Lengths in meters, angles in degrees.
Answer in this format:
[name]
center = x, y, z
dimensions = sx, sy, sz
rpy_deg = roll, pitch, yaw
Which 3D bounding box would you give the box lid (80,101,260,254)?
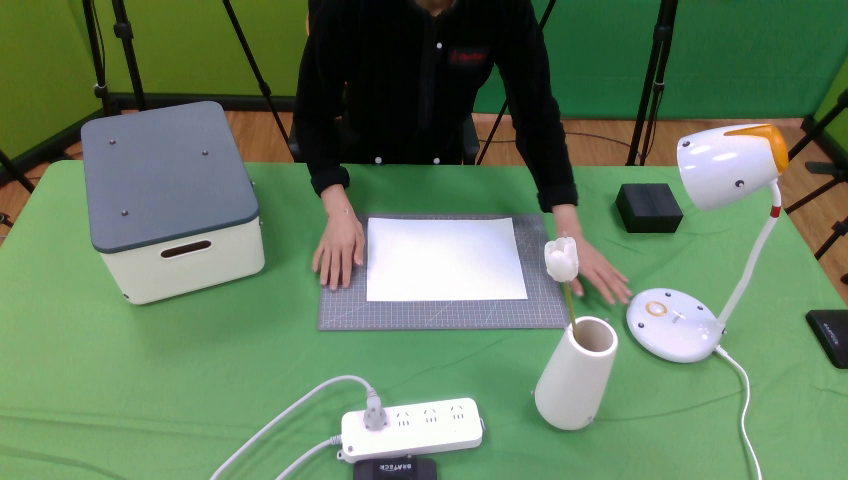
[box lid]
center = -0.461, -0.127, 1.082
dimensions = 0.264, 0.015, 0.369
rpy_deg = -16, 49, -19

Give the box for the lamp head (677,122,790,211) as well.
[lamp head]
center = 0.423, -0.104, 0.819
dimensions = 0.122, 0.113, 0.112
rpy_deg = -13, 33, 40

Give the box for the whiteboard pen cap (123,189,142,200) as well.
[whiteboard pen cap]
center = -0.591, -0.093, 1.231
dimensions = 0.033, 0.018, 0.018
rpy_deg = -14, 49, -17

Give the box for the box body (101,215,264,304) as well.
[box body]
center = -0.465, -0.077, 1.137
dimensions = 0.254, 0.161, 0.361
rpy_deg = -16, 50, -19

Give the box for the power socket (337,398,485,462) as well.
[power socket]
center = -0.018, 0.285, 0.914
dimensions = 0.227, 0.033, 0.071
rpy_deg = -4, 46, -8

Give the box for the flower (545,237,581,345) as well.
[flower]
center = 0.213, 0.137, 0.846
dimensions = 0.038, 0.364, 0.044
rpy_deg = 21, 55, 40

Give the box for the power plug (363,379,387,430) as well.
[power plug]
center = -0.071, 0.252, 0.911
dimensions = 0.035, 0.053, 0.072
rpy_deg = 3, 40, 0

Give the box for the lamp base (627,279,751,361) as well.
[lamp base]
center = 0.460, 0.100, 1.027
dimensions = 0.178, 0.181, 0.160
rpy_deg = 27, 51, 17

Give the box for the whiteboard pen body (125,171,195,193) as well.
[whiteboard pen body]
center = -0.553, -0.119, 1.270
dimensions = 0.141, 0.017, 0.017
rpy_deg = -18, 50, -15

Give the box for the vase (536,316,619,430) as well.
[vase]
center = 0.229, 0.200, 0.901
dimensions = 0.098, 0.201, 0.097
rpy_deg = 3, 46, -3

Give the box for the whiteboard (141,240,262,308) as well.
[whiteboard]
center = -0.464, -0.059, 1.137
dimensions = 0.217, 0.144, 0.303
rpy_deg = -19, 51, -17
